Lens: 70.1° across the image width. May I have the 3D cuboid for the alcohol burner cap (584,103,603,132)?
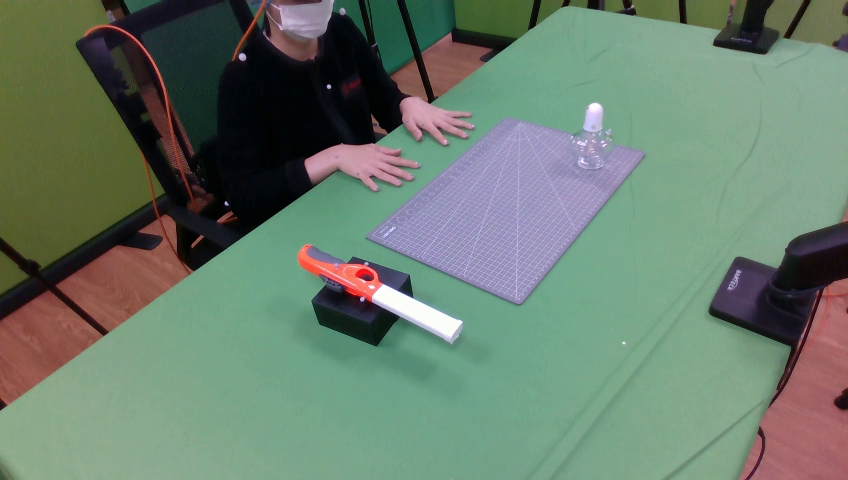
[{"bbox_3d":[0.295,-0.213,1.047,0.034,0.048,0.033,-4,38,4],"label":"alcohol burner cap"}]

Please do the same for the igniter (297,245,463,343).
[{"bbox_3d":[-0.070,0.068,0.828,0.274,0.025,0.057,23,49,25],"label":"igniter"}]

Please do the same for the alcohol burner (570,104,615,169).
[{"bbox_3d":[0.299,-0.187,1.071,0.078,0.119,0.077,-6,41,6],"label":"alcohol burner"}]
